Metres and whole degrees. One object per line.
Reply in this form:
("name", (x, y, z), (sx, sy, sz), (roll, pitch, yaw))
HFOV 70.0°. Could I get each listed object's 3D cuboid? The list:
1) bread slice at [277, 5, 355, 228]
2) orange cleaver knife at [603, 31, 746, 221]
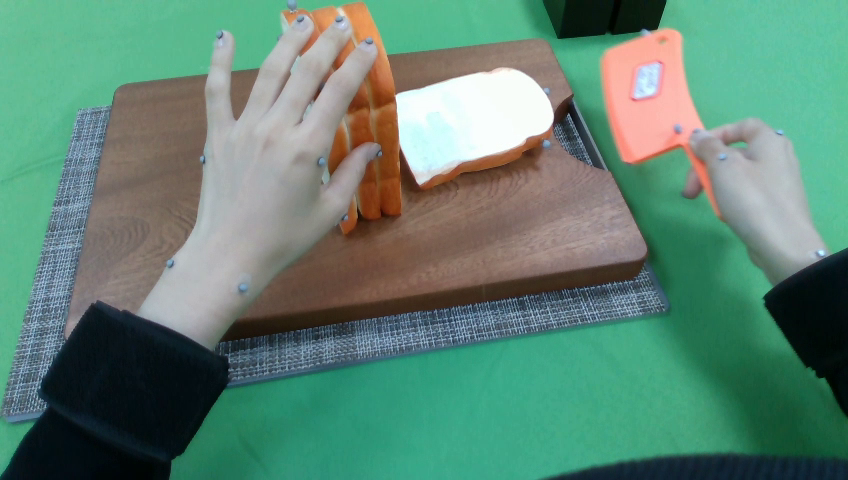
("bread slice", (-0.075, -0.091, 0.420), (0.018, 0.135, 0.106), (-18, 50, -13))
("orange cleaver knife", (0.191, -0.094, 0.482), (0.077, 0.012, 0.209), (-23, 50, 25))
